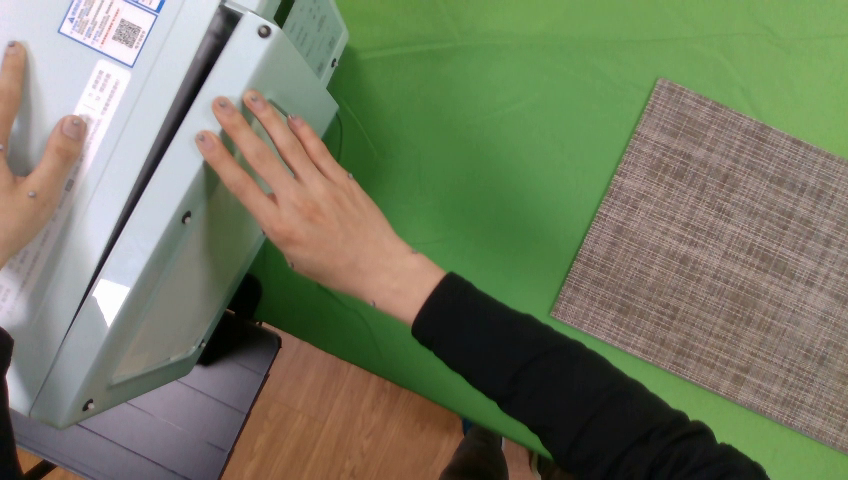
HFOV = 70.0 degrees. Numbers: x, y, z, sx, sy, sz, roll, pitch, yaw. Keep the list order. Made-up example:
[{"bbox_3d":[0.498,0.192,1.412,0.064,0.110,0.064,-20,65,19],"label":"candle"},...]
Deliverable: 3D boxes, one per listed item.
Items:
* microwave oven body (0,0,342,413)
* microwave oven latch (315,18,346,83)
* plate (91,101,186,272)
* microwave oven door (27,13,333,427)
[{"bbox_3d":[-0.329,-0.119,0.585,0.326,0.260,0.441,26,91,1],"label":"microwave oven body"},{"bbox_3d":[-0.115,-0.213,0.676,0.030,0.029,0.079,28,91,2],"label":"microwave oven latch"},{"bbox_3d":[-0.334,-0.072,0.643,0.209,0.038,0.209,0,91,2],"label":"plate"},{"bbox_3d":[-0.207,-0.014,0.577,0.039,0.244,0.355,29,90,3],"label":"microwave oven door"}]
